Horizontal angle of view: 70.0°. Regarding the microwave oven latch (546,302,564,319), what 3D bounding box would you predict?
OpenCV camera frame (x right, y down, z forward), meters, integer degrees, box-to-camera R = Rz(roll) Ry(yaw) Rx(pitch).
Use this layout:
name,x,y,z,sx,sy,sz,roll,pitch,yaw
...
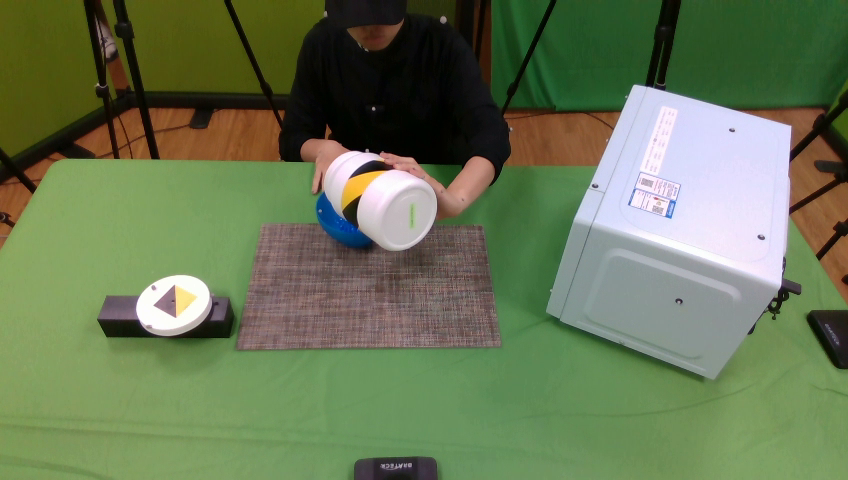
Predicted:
name,x,y,z,sx,sy,sz,roll,pitch,yaw
microwave oven latch,0.242,0.102,1.081,0.030,0.029,0.079,21,48,17

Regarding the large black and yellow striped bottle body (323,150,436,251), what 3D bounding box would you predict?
name,x,y,z,sx,sy,sz,roll,pitch,yaw
large black and yellow striped bottle body,-0.082,-0.075,1.044,0.131,0.131,0.183,-29,42,-28

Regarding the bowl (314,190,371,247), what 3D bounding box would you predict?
name,x,y,z,sx,sy,sz,roll,pitch,yaw
bowl,-0.136,-0.039,1.180,0.151,0.077,0.150,2,46,-2

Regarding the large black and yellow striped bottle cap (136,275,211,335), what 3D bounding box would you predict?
name,x,y,z,sx,sy,sz,roll,pitch,yaw
large black and yellow striped bottle cap,-0.412,0.105,0.999,0.115,0.019,0.114,3,46,-3

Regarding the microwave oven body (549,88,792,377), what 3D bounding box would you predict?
name,x,y,z,sx,sy,sz,roll,pitch,yaw
microwave oven body,0.456,-0.028,1.088,0.325,0.261,0.440,20,47,16

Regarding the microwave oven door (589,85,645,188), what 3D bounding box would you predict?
name,x,y,z,sx,sy,sz,roll,pitch,yaw
microwave oven door,0.341,-0.107,1.149,0.039,0.245,0.354,20,48,15
